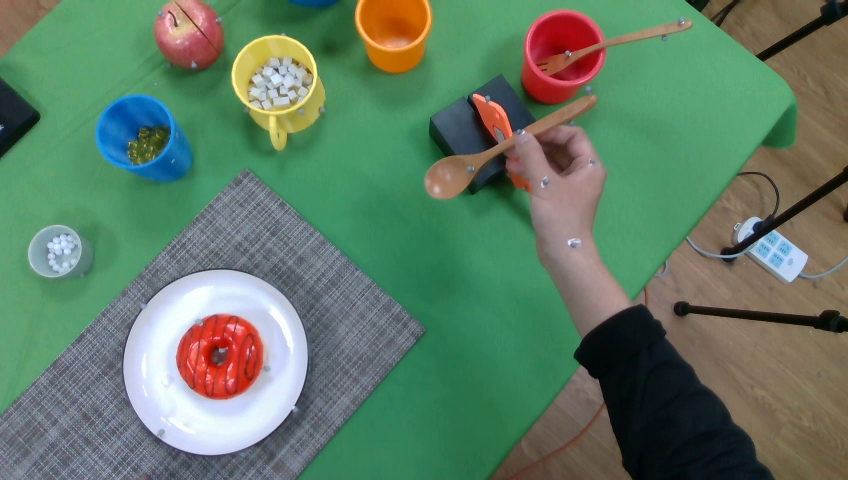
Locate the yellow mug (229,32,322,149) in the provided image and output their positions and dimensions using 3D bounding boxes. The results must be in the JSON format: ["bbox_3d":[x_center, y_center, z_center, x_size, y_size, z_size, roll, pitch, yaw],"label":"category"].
[{"bbox_3d":[-0.179,-0.177,0.738,0.100,0.064,0.130,0,82,-2],"label":"yellow mug"}]

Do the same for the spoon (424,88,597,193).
[{"bbox_3d":[0.075,-0.092,0.571,0.193,0.022,0.041,-24,80,39],"label":"spoon"}]

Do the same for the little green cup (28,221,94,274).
[{"bbox_3d":[-0.425,0.012,0.715,0.061,0.039,0.061,0,80,-1],"label":"little green cup"}]

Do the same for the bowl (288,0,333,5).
[{"bbox_3d":[-0.141,-0.355,0.762,0.151,0.077,0.151,0,82,-2],"label":"bowl"}]

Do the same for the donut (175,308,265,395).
[{"bbox_3d":[-0.230,0.126,0.687,0.099,0.048,0.098,0,82,-1],"label":"donut"}]

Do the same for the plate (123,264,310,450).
[{"bbox_3d":[-0.234,0.131,0.697,0.209,0.038,0.208,0,81,-1],"label":"plate"}]

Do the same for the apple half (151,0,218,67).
[{"bbox_3d":[-0.299,-0.245,0.743,0.053,0.075,0.080,-43,87,-4],"label":"apple half"}]

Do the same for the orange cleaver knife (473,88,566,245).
[{"bbox_3d":[0.113,-0.086,0.724,0.012,0.076,0.213,-33,112,-5],"label":"orange cleaver knife"}]

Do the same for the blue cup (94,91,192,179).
[{"bbox_3d":[-0.317,-0.113,0.706,0.093,0.100,0.092,1,81,-3],"label":"blue cup"}]

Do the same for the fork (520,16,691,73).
[{"bbox_3d":[0.207,-0.231,0.718,0.206,0.019,0.028,-7,63,40],"label":"fork"}]

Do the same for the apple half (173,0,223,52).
[{"bbox_3d":[-0.270,-0.272,0.746,0.033,0.081,0.081,-42,84,-6],"label":"apple half"}]
